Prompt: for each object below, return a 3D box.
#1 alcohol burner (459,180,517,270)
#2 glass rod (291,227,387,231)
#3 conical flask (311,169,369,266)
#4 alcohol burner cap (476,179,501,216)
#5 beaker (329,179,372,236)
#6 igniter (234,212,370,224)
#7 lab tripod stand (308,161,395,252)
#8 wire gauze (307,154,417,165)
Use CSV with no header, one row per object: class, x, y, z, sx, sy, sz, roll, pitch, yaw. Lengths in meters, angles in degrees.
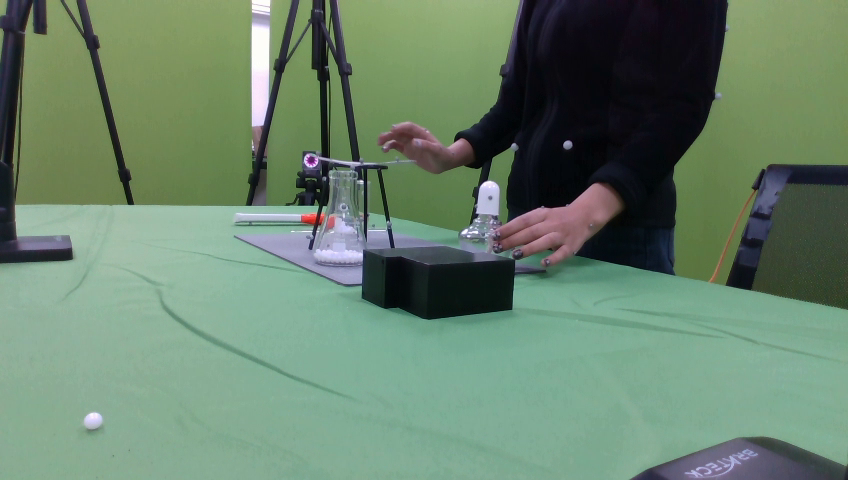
alcohol burner,0.086,-0.021,0.806,0.078,0.119,0.078,3,9,0
glass rod,-0.161,-0.023,1.177,0.201,0.008,0.008,-1,8,-29
conical flask,-0.107,-0.031,0.786,0.075,0.122,0.075,2,8,0
alcohol burner cap,0.086,-0.056,0.801,0.034,0.048,0.034,4,2,0
beaker,-0.137,-0.061,1.101,0.084,0.100,0.074,4,7,20
igniter,-0.247,-0.046,1.253,0.278,0.025,0.057,-1,-3,-27
lab tripod stand,-0.098,-0.053,0.918,0.148,0.131,0.148,4,7,0
wire gauze,-0.094,-0.120,0.913,0.122,0.011,0.124,-5,11,-45
